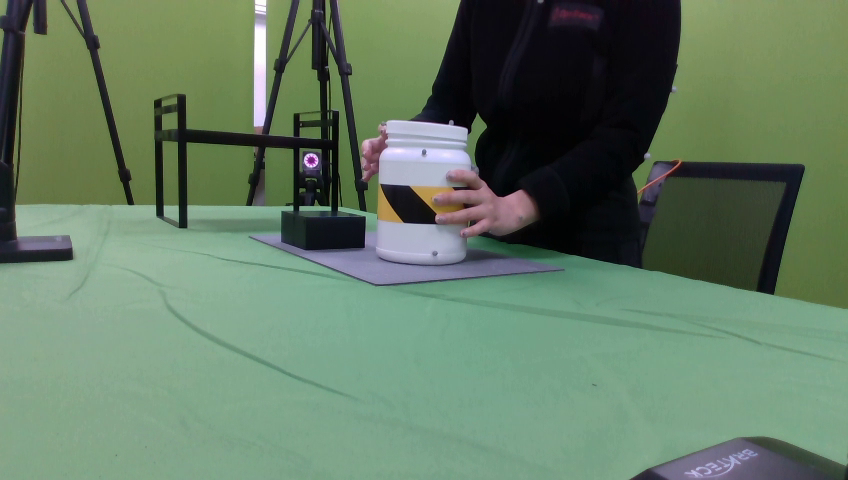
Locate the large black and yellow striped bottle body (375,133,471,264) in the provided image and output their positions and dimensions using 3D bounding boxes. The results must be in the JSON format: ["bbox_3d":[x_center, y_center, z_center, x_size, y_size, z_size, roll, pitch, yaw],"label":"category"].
[{"bbox_3d":[-0.001,-0.066,0.850,0.131,0.184,0.130,3,7,0],"label":"large black and yellow striped bottle body"}]

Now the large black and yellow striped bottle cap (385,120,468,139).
[{"bbox_3d":[0.004,-0.153,0.838,0.115,0.019,0.115,3,7,0],"label":"large black and yellow striped bottle cap"}]
